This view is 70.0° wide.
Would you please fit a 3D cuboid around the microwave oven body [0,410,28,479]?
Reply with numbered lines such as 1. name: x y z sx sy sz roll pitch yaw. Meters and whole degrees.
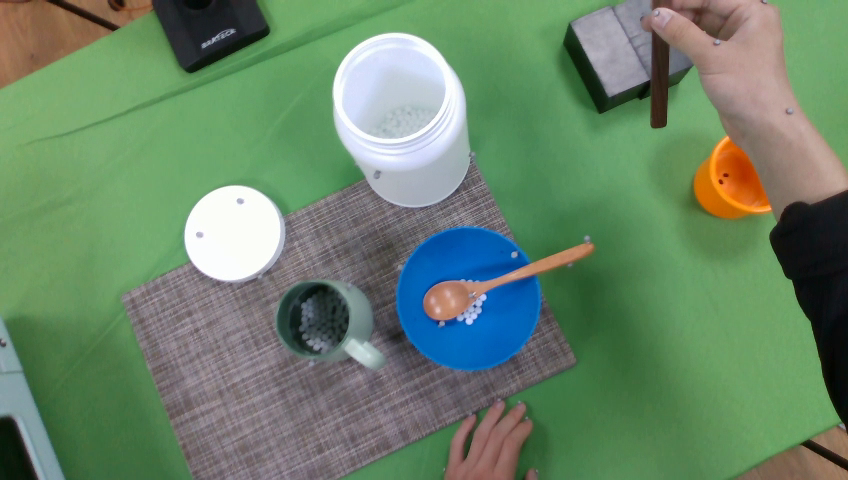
1. microwave oven body: -0.557 0.327 0.567 0.326 0.261 0.440 -27 82 -1

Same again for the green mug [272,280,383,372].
1. green mug: -0.096 0.097 0.648 0.125 0.105 0.092 37 85 8

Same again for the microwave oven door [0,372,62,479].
1. microwave oven door: -0.408 0.297 0.557 0.039 0.244 0.354 -28 81 0

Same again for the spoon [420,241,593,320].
1. spoon: 0.082 0.041 0.630 0.193 0.022 0.041 -22 84 24

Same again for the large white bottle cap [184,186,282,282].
1. large white bottle cap: -0.225 -0.007 0.715 0.115 0.018 0.114 -1 81 4

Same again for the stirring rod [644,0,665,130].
1. stirring rod: 0.180 -0.164 0.472 0.014 0.178 0.005 -5 39 14

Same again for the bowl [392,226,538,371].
1. bowl: 0.045 0.064 0.657 0.151 0.077 0.151 -1 82 4

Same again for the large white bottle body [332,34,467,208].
1. large white bottle body: -0.022 -0.118 0.633 0.130 0.185 0.130 -1 78 5

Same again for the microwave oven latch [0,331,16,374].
1. microwave oven latch: -0.498 0.120 0.690 0.030 0.029 0.079 -27 82 -1
